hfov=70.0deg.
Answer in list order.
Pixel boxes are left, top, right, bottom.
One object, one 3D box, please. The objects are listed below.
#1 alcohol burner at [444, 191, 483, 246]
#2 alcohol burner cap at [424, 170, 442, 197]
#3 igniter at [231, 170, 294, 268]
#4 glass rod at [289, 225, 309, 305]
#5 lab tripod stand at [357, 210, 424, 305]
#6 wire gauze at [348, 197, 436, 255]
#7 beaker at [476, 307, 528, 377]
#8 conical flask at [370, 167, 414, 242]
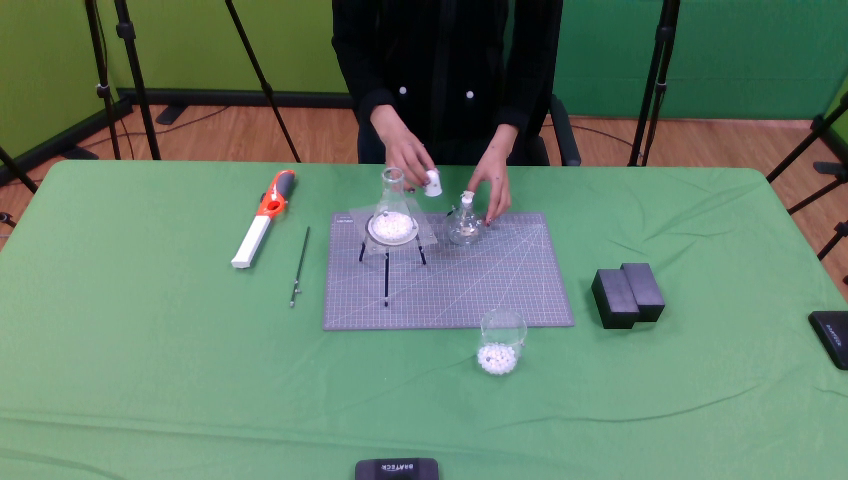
[{"bbox_3d":[0.079,-0.047,1.184,0.078,0.120,0.077,1,45,-1],"label":"alcohol burner"},{"bbox_3d":[0.015,-0.106,1.113,0.034,0.048,0.033,-5,39,4],"label":"alcohol burner cap"},{"bbox_3d":[-0.321,-0.051,1.220,0.057,0.025,0.275,2,45,11],"label":"igniter"},{"bbox_3d":[-0.235,0.043,1.149,0.008,0.008,0.198,3,46,-1],"label":"glass rod"},{"bbox_3d":[-0.060,0.020,1.094,0.148,0.132,0.147,3,44,-2],"label":"lab tripod stand"},{"bbox_3d":[-0.056,-0.025,1.046,0.125,0.011,0.120,-13,46,-15],"label":"wire gauze"},{"bbox_3d":[0.122,0.171,0.991,0.084,0.101,0.073,-34,56,-30],"label":"beaker"},{"bbox_3d":[-0.053,-0.062,1.000,0.075,0.122,0.075,2,44,-2],"label":"conical flask"}]
